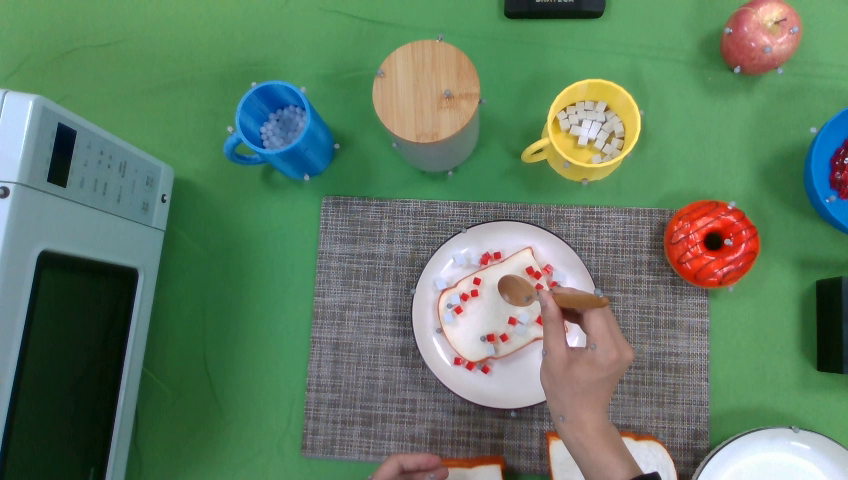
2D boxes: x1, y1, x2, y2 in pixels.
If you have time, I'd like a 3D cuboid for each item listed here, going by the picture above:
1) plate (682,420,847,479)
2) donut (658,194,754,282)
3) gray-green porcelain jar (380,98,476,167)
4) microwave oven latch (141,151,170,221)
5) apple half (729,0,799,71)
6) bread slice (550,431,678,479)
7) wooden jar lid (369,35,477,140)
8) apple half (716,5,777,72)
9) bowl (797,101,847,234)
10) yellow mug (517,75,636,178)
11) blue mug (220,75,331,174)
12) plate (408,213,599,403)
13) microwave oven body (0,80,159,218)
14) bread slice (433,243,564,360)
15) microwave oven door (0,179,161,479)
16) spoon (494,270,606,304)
[{"bbox_3d":[0.365,0.292,0.629,0.209,0.038,0.208,-1,82,5],"label":"plate"},{"bbox_3d":[0.308,-0.002,0.665,0.099,0.048,0.099,-1,83,5],"label":"donut"},{"bbox_3d":[0.005,-0.142,0.671,0.106,0.127,0.105,-1,82,5],"label":"gray-green porcelain jar"},{"bbox_3d":[-0.322,-0.064,0.714,0.030,0.029,0.079,8,84,5],"label":"microwave oven latch"},{"bbox_3d":[0.382,-0.236,0.679,0.053,0.075,0.080,-29,77,-5],"label":"apple half"},{"bbox_3d":[0.200,0.254,0.622,0.135,0.018,0.106,-3,79,-15],"label":"bread slice"},{"bbox_3d":[-0.001,-0.151,0.610,0.108,0.021,0.108,-1,80,5],"label":"wooden jar lid"},{"bbox_3d":[0.349,-0.215,0.677,0.033,0.081,0.081,-30,80,-4],"label":"apple half"},{"bbox_3d":[0.467,-0.070,0.648,0.151,0.077,0.151,-1,83,5],"label":"bowl"},{"bbox_3d":[0.167,-0.121,0.686,0.131,0.064,0.099,-21,81,3],"label":"yellow mug"},{"bbox_3d":[-0.174,-0.122,0.694,0.116,0.106,0.082,-23,81,2],"label":"blue mug"},{"bbox_3d":[0.087,0.075,0.677,0.207,0.039,0.207,-1,82,5],"label":"plate"},{"bbox_3d":[-0.498,0.081,0.612,0.326,0.261,0.440,6,84,5],"label":"microwave oven body"},{"bbox_3d":[0.078,0.076,0.678,0.131,0.019,0.104,-24,80,2],"label":"bread slice"},{"bbox_3d":[-0.359,0.138,0.588,0.039,0.244,0.354,6,83,6],"label":"microwave oven door"},{"bbox_3d":[0.114,0.050,0.581,0.021,0.193,0.042,-31,99,-13],"label":"spoon"}]
